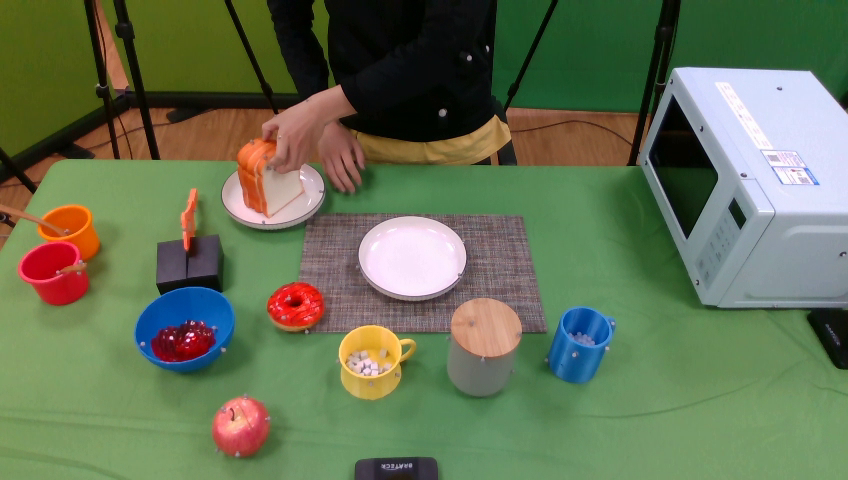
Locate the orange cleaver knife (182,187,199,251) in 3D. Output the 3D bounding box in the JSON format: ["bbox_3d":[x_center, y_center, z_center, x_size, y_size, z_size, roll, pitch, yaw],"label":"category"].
[{"bbox_3d":[-0.445,-0.045,1.163,0.012,0.077,0.210,-5,24,-13],"label":"orange cleaver knife"}]

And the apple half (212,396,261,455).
[{"bbox_3d":[-0.276,0.276,0.877,0.053,0.075,0.080,-29,58,-21],"label":"apple half"}]

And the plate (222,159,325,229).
[{"bbox_3d":[-0.307,-0.095,1.251,0.209,0.038,0.208,2,46,-2],"label":"plate"}]

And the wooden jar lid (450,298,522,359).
[{"bbox_3d":[0.093,0.135,0.914,0.108,0.021,0.107,3,48,-3],"label":"wooden jar lid"}]

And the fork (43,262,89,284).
[{"bbox_3d":[-0.599,0.053,1.014,0.207,0.019,0.028,-14,31,45],"label":"fork"}]

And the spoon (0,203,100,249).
[{"bbox_3d":[-0.683,-0.031,1.088,0.195,0.021,0.041,33,33,-38],"label":"spoon"}]

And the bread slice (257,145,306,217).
[{"bbox_3d":[-0.288,-0.122,1.205,0.018,0.135,0.107,24,52,24],"label":"bread slice"}]

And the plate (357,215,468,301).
[{"bbox_3d":[-0.022,0.037,1.141,0.208,0.039,0.206,2,46,-2],"label":"plate"}]

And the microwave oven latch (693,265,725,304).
[{"bbox_3d":[0.523,0.081,1.115,0.030,0.029,0.078,2,46,-1],"label":"microwave oven latch"}]

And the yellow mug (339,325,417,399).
[{"bbox_3d":[-0.072,0.191,0.978,0.131,0.064,0.099,-17,49,-20],"label":"yellow mug"}]

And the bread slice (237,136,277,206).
[{"bbox_3d":[-0.330,-0.146,1.224,0.019,0.132,0.105,26,48,25],"label":"bread slice"}]

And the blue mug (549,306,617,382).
[{"bbox_3d":[0.269,0.166,0.998,0.116,0.106,0.082,-19,51,-21],"label":"blue mug"}]

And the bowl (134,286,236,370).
[{"bbox_3d":[-0.377,0.156,0.981,0.151,0.077,0.150,2,46,-2],"label":"bowl"}]

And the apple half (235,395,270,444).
[{"bbox_3d":[-0.245,0.259,0.893,0.033,0.082,0.081,-29,55,-22],"label":"apple half"}]

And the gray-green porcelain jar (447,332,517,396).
[{"bbox_3d":[0.091,0.178,0.960,0.106,0.127,0.105,2,46,-2],"label":"gray-green porcelain jar"}]

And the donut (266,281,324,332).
[{"bbox_3d":[-0.222,0.114,1.049,0.099,0.048,0.098,2,46,-2],"label":"donut"}]

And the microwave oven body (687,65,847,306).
[{"bbox_3d":[0.669,-0.111,1.176,0.326,0.261,0.439,0,46,-3],"label":"microwave oven body"}]

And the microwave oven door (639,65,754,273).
[{"bbox_3d":[0.522,-0.147,1.192,0.039,0.245,0.353,0,47,-3],"label":"microwave oven door"}]
